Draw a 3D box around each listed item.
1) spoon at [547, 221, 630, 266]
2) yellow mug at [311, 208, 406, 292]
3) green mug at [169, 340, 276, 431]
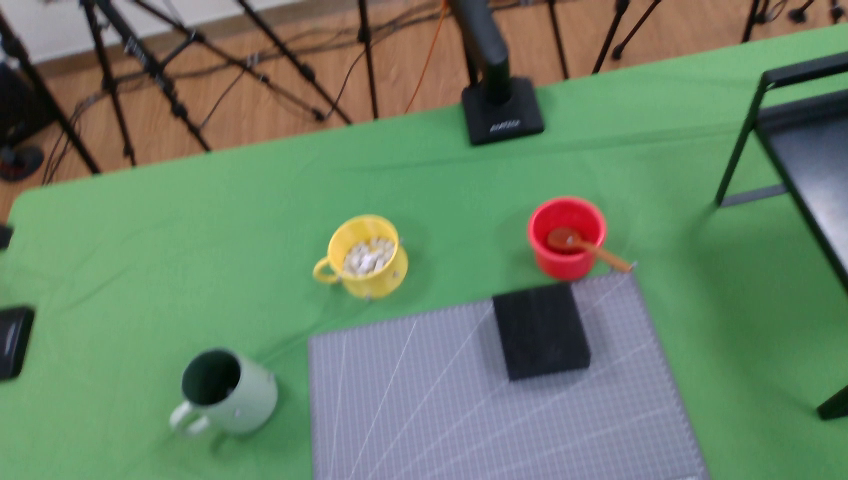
[{"bbox_3d":[0.202,0.003,0.754,0.041,0.192,0.022,-22,104,-5],"label":"spoon"},{"bbox_3d":[-0.095,0.020,0.848,0.131,0.064,0.099,-20,59,0],"label":"yellow mug"},{"bbox_3d":[-0.257,0.191,0.760,0.125,0.106,0.091,-40,62,-12],"label":"green mug"}]
